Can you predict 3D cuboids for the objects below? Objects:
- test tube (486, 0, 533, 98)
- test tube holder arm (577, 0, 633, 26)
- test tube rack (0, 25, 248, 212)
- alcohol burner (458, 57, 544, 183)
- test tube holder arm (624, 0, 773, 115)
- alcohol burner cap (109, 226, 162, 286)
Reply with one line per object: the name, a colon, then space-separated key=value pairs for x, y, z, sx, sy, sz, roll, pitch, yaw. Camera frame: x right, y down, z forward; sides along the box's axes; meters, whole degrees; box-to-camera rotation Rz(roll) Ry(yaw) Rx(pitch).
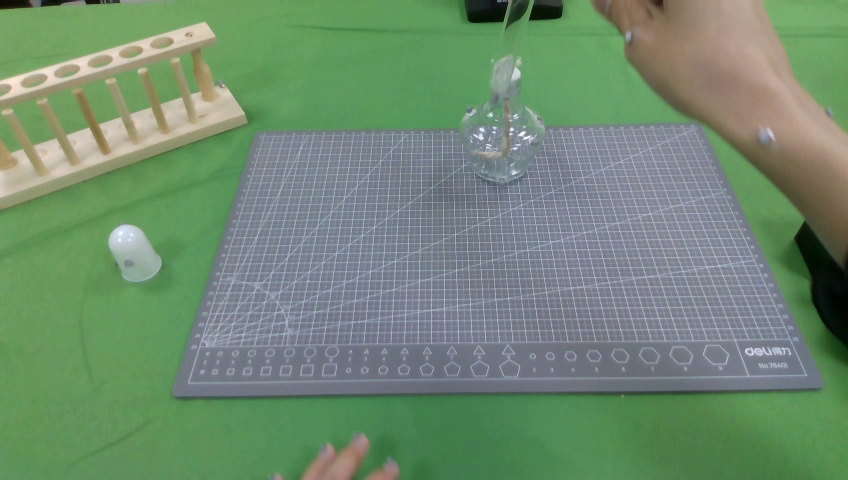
test tube: x=0.060 y=-0.153 z=0.369 sx=0.017 sy=0.151 sz=0.017 roll=6 pitch=46 yaw=-6
test tube holder arm: x=0.080 y=-0.151 z=0.349 sx=0.087 sy=0.015 sz=0.010 roll=32 pitch=53 yaw=5
test tube rack: x=-0.306 y=-0.121 z=0.582 sx=0.242 sy=0.086 sz=0.066 roll=-25 pitch=51 yaw=-19
alcohol burner: x=0.069 y=-0.109 z=0.535 sx=0.078 sy=0.120 sz=0.077 roll=0 pitch=49 yaw=0
test tube holder arm: x=0.119 y=-0.128 z=0.346 sx=0.178 sy=0.015 sz=0.013 roll=38 pitch=54 yaw=9
alcohol burner cap: x=-0.236 y=0.010 z=0.490 sx=0.034 sy=0.048 sz=0.033 roll=0 pitch=47 yaw=1
